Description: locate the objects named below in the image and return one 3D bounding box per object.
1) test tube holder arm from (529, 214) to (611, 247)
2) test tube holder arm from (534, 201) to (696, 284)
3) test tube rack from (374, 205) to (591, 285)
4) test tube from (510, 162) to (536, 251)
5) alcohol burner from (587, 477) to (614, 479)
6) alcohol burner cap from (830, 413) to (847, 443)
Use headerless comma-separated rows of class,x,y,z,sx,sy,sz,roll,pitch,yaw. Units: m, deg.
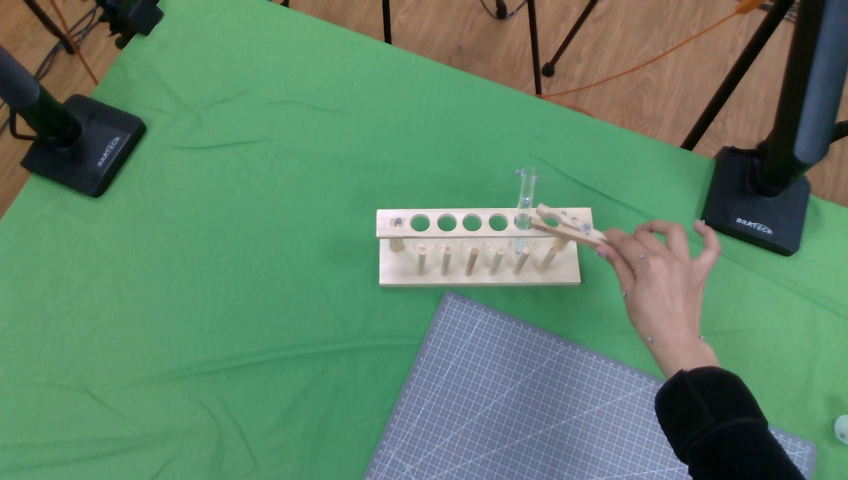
test tube holder arm,0.155,-0.010,0.642,0.087,0.015,0.010,16,76,11
test tube holder arm,0.197,0.002,0.634,0.177,0.015,0.013,25,79,13
test tube rack,0.065,0.007,0.707,0.242,0.086,0.066,0,69,-2
test tube,0.108,-0.032,0.668,0.017,0.151,0.017,-1,57,2
alcohol burner,0.181,0.274,0.593,0.078,0.120,0.077,1,71,-1
alcohol burner cap,0.477,0.205,0.667,0.034,0.048,0.033,0,68,0
